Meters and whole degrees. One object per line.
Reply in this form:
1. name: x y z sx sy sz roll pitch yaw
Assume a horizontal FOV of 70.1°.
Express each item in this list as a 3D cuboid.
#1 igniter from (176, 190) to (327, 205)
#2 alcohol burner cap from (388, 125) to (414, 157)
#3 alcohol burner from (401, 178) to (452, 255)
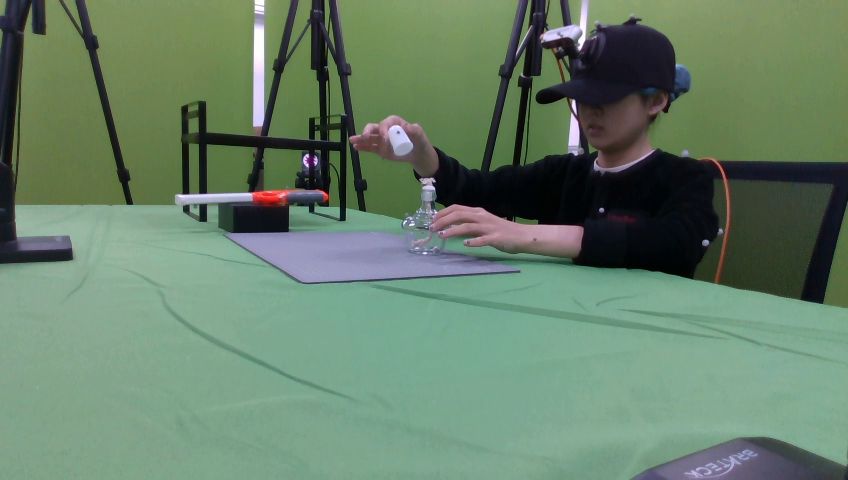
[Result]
1. igniter: -0.316 -0.080 1.137 0.278 0.025 0.057 -4 12 -33
2. alcohol burner cap: -0.039 -0.157 0.939 0.034 0.047 0.034 -21 -26 -10
3. alcohol burner: 0.005 -0.036 0.922 0.078 0.119 0.078 5 7 0
